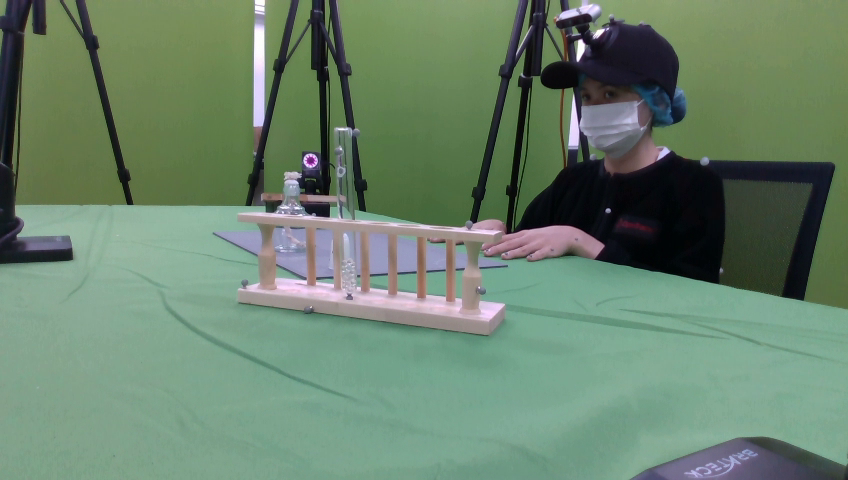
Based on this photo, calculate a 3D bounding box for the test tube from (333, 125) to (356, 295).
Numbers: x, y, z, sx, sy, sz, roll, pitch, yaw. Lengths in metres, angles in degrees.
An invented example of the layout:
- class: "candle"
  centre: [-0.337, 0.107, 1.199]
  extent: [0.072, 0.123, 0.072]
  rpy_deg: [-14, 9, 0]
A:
- class: "test tube"
  centre: [-0.070, -0.025, 0.533]
  extent: [0.017, 0.150, 0.017]
  rpy_deg: [-1, 11, 0]

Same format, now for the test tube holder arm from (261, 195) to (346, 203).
- class: "test tube holder arm"
  centre: [-0.242, -0.083, 1.232]
  extent: [0.179, 0.015, 0.013]
  rpy_deg: [-1, 8, -32]

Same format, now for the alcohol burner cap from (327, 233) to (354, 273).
- class: "alcohol burner cap"
  centre: [-0.104, 0.016, 0.752]
  extent: [0.034, 0.048, 0.034]
  rpy_deg: [3, 6, 0]

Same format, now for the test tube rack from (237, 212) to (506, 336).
- class: "test tube rack"
  centre: [-0.049, 0.024, 0.552]
  extent: [0.242, 0.085, 0.067]
  rpy_deg: [5, 8, 18]

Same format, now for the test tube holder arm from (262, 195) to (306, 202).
- class: "test tube holder arm"
  centre: [-0.278, -0.082, 1.204]
  extent: [0.088, 0.015, 0.010]
  rpy_deg: [0, 8, -30]

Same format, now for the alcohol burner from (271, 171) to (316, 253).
- class: "alcohol burner"
  centre: [-0.196, -0.041, 0.884]
  extent: [0.078, 0.119, 0.078]
  rpy_deg: [3, 5, 0]
